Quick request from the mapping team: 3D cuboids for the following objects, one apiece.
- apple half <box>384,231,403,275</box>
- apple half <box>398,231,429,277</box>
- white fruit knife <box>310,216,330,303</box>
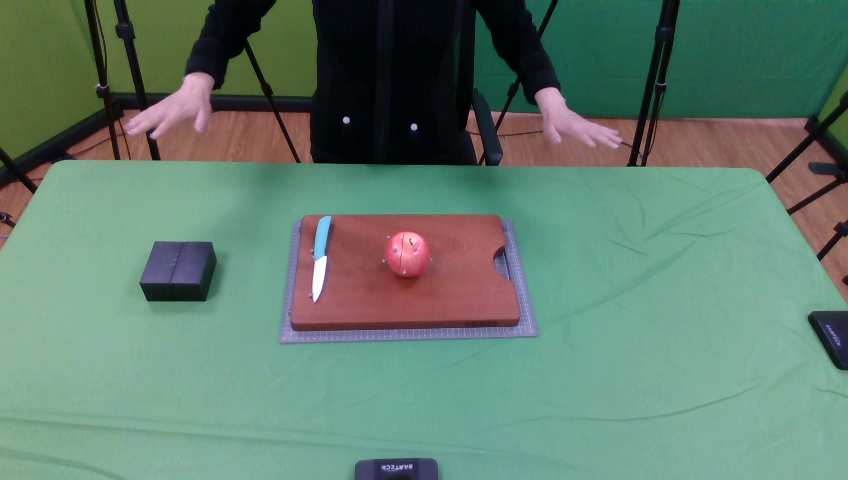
[{"bbox_3d":[-0.056,0.025,1.093,0.033,0.081,0.081,5,46,-2],"label":"apple half"},{"bbox_3d":[-0.018,0.028,1.095,0.053,0.075,0.080,6,42,-4],"label":"apple half"},{"bbox_3d":[-0.194,0.032,1.116,0.027,0.016,0.206,-8,47,7],"label":"white fruit knife"}]
